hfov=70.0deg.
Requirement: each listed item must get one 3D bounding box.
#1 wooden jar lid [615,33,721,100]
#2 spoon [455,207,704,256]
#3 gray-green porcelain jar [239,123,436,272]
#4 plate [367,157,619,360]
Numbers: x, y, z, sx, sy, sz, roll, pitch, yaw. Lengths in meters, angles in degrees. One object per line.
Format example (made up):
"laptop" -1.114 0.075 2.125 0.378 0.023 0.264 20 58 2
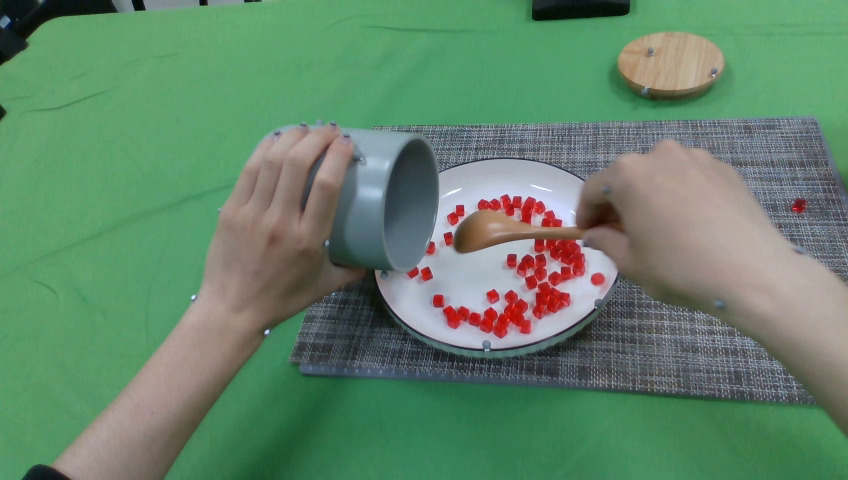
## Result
"wooden jar lid" 0.263 -0.188 0.658 0.108 0.021 0.107 -5 51 7
"spoon" 0.096 -0.008 0.424 0.192 0.022 0.041 0 62 40
"gray-green porcelain jar" -0.067 -0.035 0.469 0.126 0.107 0.105 8 53 21
"plate" 0.056 0.014 0.514 0.207 0.039 0.205 -6 50 7
